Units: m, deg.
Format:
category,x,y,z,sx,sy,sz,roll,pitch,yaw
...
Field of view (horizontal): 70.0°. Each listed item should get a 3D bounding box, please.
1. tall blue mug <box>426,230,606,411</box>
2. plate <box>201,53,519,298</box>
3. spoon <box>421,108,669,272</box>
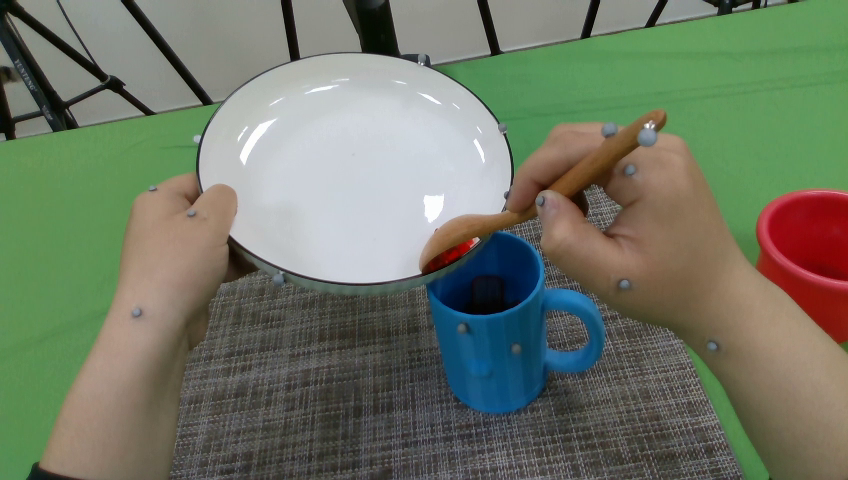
category,x,y,z,sx,sy,sz,roll,pitch,yaw
tall blue mug,0.061,0.054,0.418,0.107,0.109,0.077,-14,43,-2
plate,-0.041,-0.047,0.415,0.208,0.039,0.205,3,55,-4
spoon,0.045,-0.016,0.291,0.041,0.193,0.022,-40,96,-30
